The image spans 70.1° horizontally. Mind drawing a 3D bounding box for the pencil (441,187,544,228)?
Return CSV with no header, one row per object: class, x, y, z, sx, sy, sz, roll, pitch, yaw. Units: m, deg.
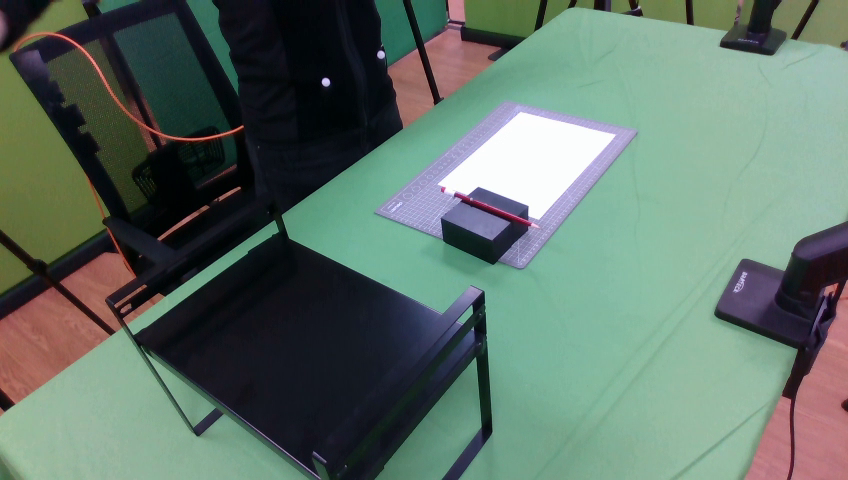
pencil,0.104,-0.051,0.948,0.192,0.012,0.012,24,50,32
